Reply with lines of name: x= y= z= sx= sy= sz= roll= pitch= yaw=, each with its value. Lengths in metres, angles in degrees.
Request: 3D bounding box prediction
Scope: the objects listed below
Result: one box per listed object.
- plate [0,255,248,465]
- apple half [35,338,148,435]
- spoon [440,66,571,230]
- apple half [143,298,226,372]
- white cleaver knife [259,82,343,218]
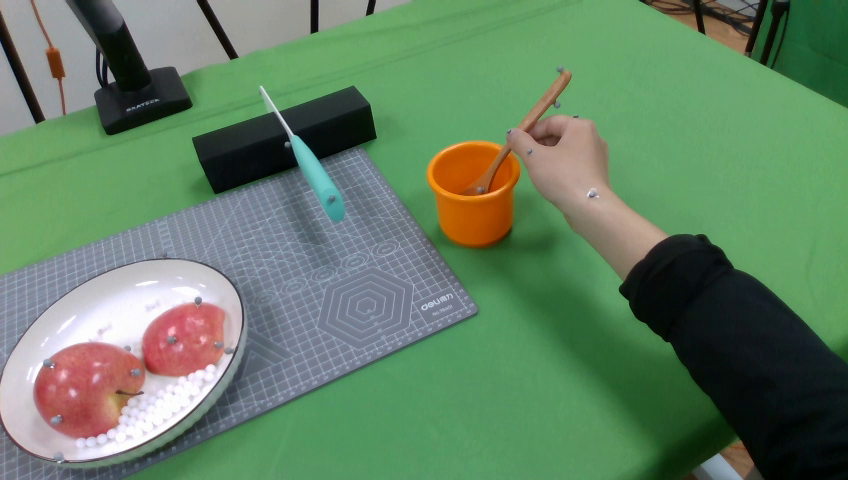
plate: x=-0.255 y=0.101 z=0.532 sx=0.209 sy=0.038 sz=0.207 roll=-3 pitch=46 yaw=4
apple half: x=-0.281 y=0.113 z=0.501 sx=0.074 sy=0.054 sz=0.080 roll=10 pitch=49 yaw=20
spoon: x=0.078 y=-0.086 z=0.589 sx=0.022 sy=0.194 sz=0.041 roll=3 pitch=40 yaw=-50
apple half: x=-0.216 y=0.079 z=0.538 sx=0.081 sy=0.033 sz=0.080 roll=-3 pitch=49 yaw=3
white cleaver knife: x=-0.144 y=-0.106 z=0.695 sx=0.021 sy=0.066 sz=0.283 roll=-26 pitch=45 yaw=-10
